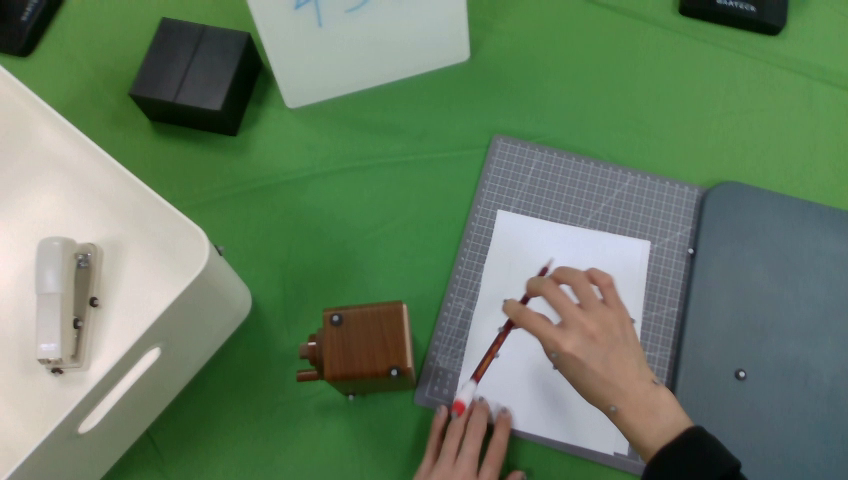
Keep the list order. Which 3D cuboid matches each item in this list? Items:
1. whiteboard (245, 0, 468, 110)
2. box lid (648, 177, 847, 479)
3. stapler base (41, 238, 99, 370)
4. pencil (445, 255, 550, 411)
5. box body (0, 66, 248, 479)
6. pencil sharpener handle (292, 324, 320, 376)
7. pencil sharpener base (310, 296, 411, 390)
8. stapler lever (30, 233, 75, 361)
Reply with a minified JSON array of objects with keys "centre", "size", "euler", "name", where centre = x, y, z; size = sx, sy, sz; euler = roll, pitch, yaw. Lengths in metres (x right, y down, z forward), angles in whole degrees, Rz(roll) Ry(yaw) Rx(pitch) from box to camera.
[{"centre":[-0.087,-0.321,0.607],"size":[0.217,0.308,0.142],"euler":[-16,51,-5],"name":"whiteboard"},{"centre":[0.365,0.126,0.571],"size":[0.263,0.015,0.369],"euler":[16,71,4],"name":"box lid"},{"centre":[-0.344,0.057,0.582],"size":[0.041,0.024,0.129],"euler":[-4,72,1],"name":"stapler base"},{"centre":[0.067,0.067,0.499],"size":[0.012,0.012,0.193],"euler":[32,48,12],"name":"pencil"},{"centre":[-0.370,0.019,0.528],"size":[0.362,0.161,0.253],"euler":[36,74,12],"name":"box body"},{"centre":[-0.103,0.098,0.516],"size":[0.030,0.068,0.035],"euler":[-5,53,-1],"name":"pencil sharpener handle"},{"centre":[-0.053,0.094,0.532],"size":[0.077,0.107,0.061],"euler":[-5,70,-1],"name":"pencil sharpener base"},{"centre":[-0.344,0.050,0.557],"size":[0.027,0.040,0.117],"euler":[-4,73,1],"name":"stapler lever"}]
